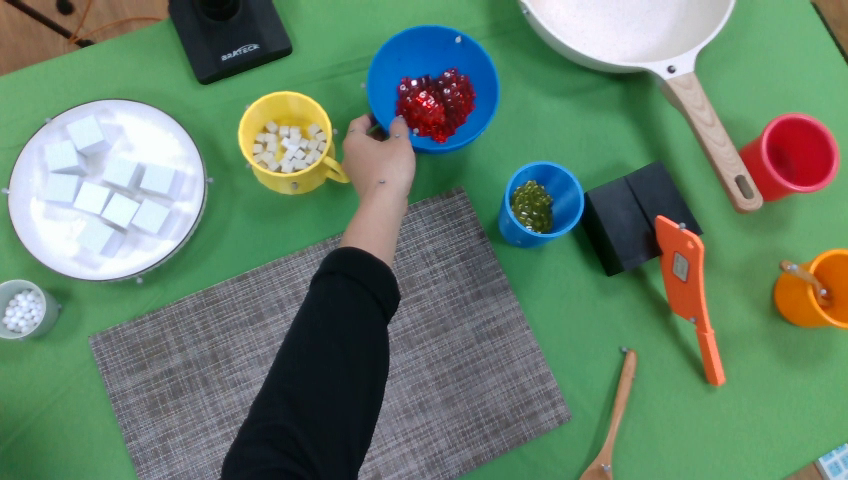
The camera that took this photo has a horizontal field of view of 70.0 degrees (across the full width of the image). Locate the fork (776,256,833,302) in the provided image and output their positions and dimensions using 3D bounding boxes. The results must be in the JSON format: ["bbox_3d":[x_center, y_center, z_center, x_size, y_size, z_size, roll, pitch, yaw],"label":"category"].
[{"bbox_3d":[0.425,0.044,0.672,0.209,0.018,0.028,19,72,-46],"label":"fork"}]

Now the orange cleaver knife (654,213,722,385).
[{"bbox_3d":[0.300,0.068,0.690,0.012,0.076,0.213,-24,110,-9],"label":"orange cleaver knife"}]

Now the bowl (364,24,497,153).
[{"bbox_3d":[0.004,-0.164,0.711,0.151,0.077,0.150,1,79,-5],"label":"bowl"}]

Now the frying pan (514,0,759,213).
[{"bbox_3d":[0.274,-0.249,0.740,0.307,0.103,0.484,-18,73,-8],"label":"frying pan"}]

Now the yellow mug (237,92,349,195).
[{"bbox_3d":[-0.142,-0.101,0.690,0.131,0.064,0.099,29,76,0],"label":"yellow mug"}]

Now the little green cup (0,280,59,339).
[{"bbox_3d":[-0.422,0.075,0.640,0.062,0.039,0.061,1,79,-7],"label":"little green cup"}]

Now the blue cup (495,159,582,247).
[{"bbox_3d":[0.120,-0.033,0.683,0.093,0.100,0.092,2,76,-6],"label":"blue cup"}]

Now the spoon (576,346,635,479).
[{"bbox_3d":[0.211,0.211,0.682,0.041,0.022,0.193,19,77,11],"label":"spoon"}]

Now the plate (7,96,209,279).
[{"bbox_3d":[-0.344,-0.057,0.676,0.208,0.039,0.206,1,78,-5],"label":"plate"}]
